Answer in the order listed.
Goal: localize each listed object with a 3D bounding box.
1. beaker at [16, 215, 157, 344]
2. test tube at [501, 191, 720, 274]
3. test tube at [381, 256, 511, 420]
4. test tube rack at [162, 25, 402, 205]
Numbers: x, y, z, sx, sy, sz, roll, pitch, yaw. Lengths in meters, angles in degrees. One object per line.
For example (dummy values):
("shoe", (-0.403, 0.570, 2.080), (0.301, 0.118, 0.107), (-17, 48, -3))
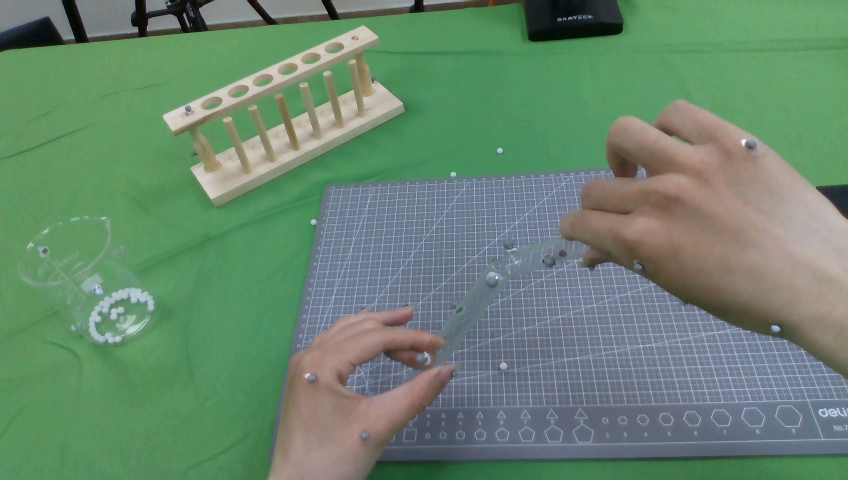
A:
("beaker", (-0.285, 0.036, 0.529), (0.073, 0.101, 0.083), (19, 54, 22))
("test tube", (0.117, -0.006, 0.368), (0.150, 0.017, 0.017), (-16, 49, -15))
("test tube", (0.010, 0.068, 0.391), (0.017, 0.151, 0.017), (25, 30, -15))
("test tube rack", (-0.148, -0.142, 0.670), (0.242, 0.086, 0.066), (-31, 53, -17))
